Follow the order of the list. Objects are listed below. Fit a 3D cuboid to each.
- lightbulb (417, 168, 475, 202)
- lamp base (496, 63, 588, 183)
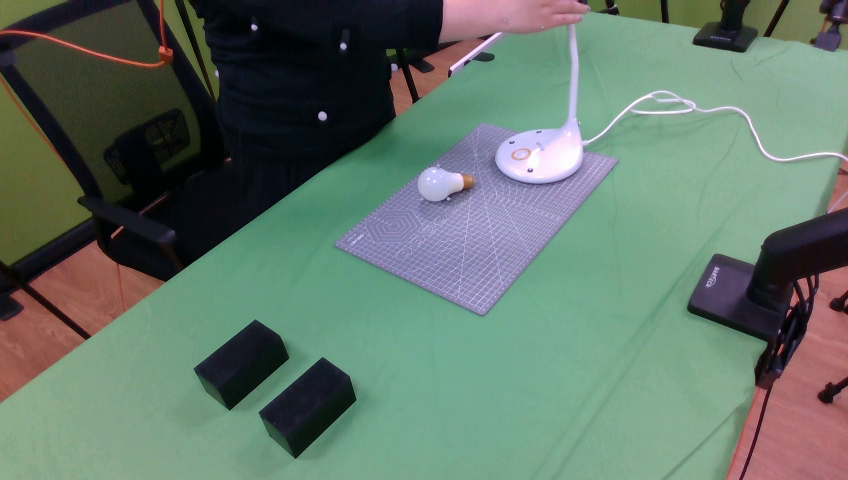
[{"bbox_3d":[0.040,-0.098,1.055,0.108,0.059,0.059,-8,37,-25],"label":"lightbulb"},{"bbox_3d":[0.216,-0.217,1.067,0.180,0.181,0.159,-19,42,-18],"label":"lamp base"}]
